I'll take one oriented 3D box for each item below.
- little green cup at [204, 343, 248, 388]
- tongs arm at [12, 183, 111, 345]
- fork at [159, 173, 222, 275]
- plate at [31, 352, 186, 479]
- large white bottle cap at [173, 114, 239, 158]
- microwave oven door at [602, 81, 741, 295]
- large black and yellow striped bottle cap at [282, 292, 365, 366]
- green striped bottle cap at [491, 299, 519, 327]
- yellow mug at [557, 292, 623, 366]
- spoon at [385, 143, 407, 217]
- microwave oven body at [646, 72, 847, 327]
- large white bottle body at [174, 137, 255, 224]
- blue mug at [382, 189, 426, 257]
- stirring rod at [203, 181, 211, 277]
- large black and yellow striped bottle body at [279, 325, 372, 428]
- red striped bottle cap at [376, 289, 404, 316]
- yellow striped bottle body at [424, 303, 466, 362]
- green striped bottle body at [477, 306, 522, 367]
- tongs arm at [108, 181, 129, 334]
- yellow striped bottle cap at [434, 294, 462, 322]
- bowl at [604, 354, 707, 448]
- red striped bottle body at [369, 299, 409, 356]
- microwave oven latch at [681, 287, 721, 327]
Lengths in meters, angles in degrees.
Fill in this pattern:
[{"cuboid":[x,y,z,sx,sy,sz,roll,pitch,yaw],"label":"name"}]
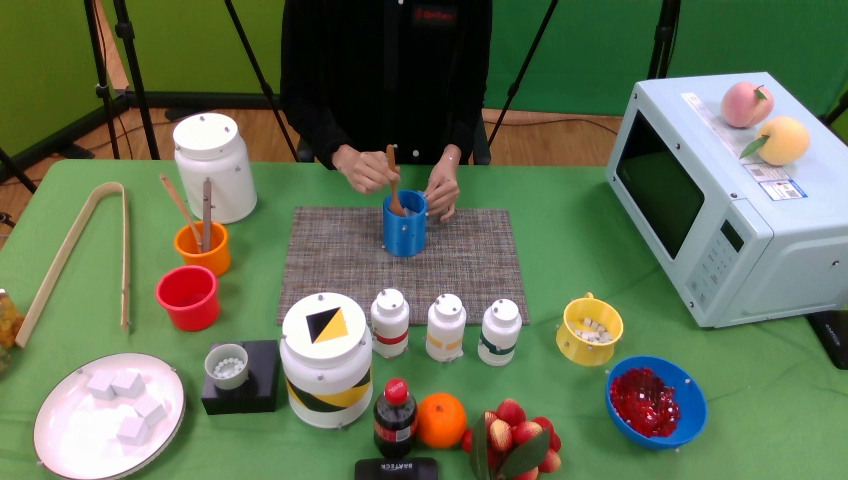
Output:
[{"cuboid":[-0.294,0.190,0.909,0.061,0.039,0.061,1,48,-1],"label":"little green cup"},{"cuboid":[-0.657,0.027,1.109,0.028,0.028,0.385,-2,45,1],"label":"tongs arm"},{"cuboid":[-0.427,-0.029,1.103,0.028,0.018,0.207,-31,99,-31],"label":"fork"},{"cuboid":[-0.459,0.262,0.898,0.209,0.038,0.208,2,46,-2],"label":"plate"},{"cuboid":[-0.403,-0.195,1.122,0.115,0.018,0.114,2,47,-2],"label":"large white bottle cap"},{"cuboid":[0.456,-0.107,1.162,0.039,0.245,0.353,-7,47,-11],"label":"microwave oven door"},{"cuboid":[-0.138,0.121,0.841,0.115,0.019,0.114,3,47,-3],"label":"large black and yellow striped bottle cap"},{"cuboid":[0.128,0.115,0.958,0.044,0.020,0.044,1,47,-1],"label":"green striped bottle cap"},{"cuboid":[0.285,0.145,1.051,0.100,0.064,0.130,7,45,4],"label":"yellow mug"},{"cuboid":[-0.057,-0.096,1.098,0.041,0.195,0.021,4,42,9],"label":"spoon"},{"cuboid":[0.607,-0.089,1.164,0.326,0.261,0.438,-7,46,-10],"label":"microwave oven body"},{"cuboid":[-0.408,-0.136,1.183,0.131,0.185,0.130,2,46,-2],"label":"large white bottle body"},{"cuboid":[-0.031,-0.041,1.173,0.082,0.106,0.116,28,50,21],"label":"blue mug"},{"cuboid":[-0.396,-0.021,1.107,0.014,0.006,0.176,-1,89,-1],"label":"stirring rod"},{"cuboid":[-0.143,0.181,0.900,0.131,0.185,0.130,2,46,-2],"label":"large black and yellow striped bottle body"},{"cuboid":[-0.055,0.098,0.959,0.044,0.018,0.044,0,48,0],"label":"red striped bottle cap"},{"cuboid":[0.035,0.143,0.995,0.063,0.121,0.062,3,46,-3],"label":"yellow striped bottle body"},{"cuboid":[0.124,0.151,0.995,0.063,0.120,0.063,2,46,-2],"label":"green striped bottle body"},{"cuboid":[-0.571,0.019,1.123,0.051,0.026,0.382,-10,47,-12],"label":"tongs arm"},{"cuboid":[0.037,0.107,0.958,0.044,0.019,0.044,2,45,-2],"label":"yellow striped bottle cap"},{"cuboid":[0.346,0.261,0.937,0.151,0.077,0.150,2,46,-2],"label":"bowl"},{"cuboid":[-0.058,0.134,0.997,0.063,0.120,0.062,4,47,-4],"label":"red striped bottle body"},{"cuboid":[0.494,0.119,1.087,0.030,0.029,0.078,-6,46,-9],"label":"microwave oven latch"}]
